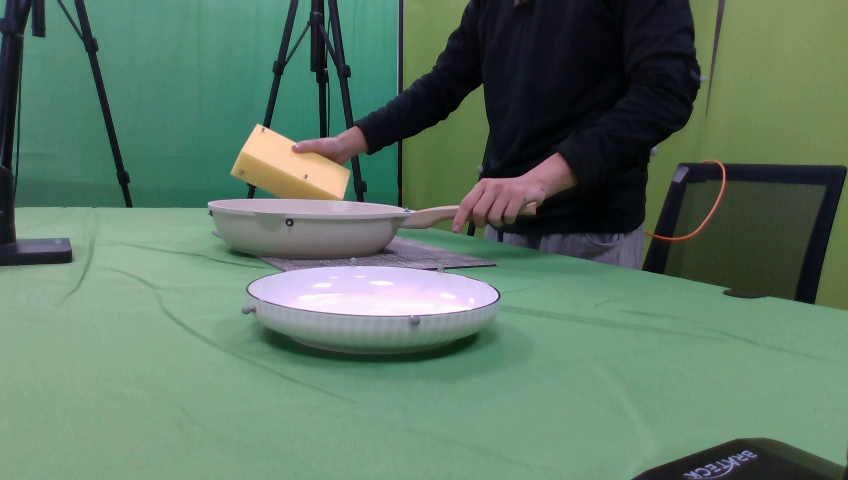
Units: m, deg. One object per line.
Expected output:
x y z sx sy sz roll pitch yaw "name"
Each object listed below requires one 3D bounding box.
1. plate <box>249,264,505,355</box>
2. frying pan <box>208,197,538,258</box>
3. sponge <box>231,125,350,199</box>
-0.037 0.056 0.504 0.208 0.039 0.207 2 7 0 "plate"
-0.076 -0.034 0.913 0.487 0.102 0.307 -5 7 11 "frying pan"
-0.259 -0.136 1.199 0.207 0.061 0.118 25 32 -17 "sponge"
